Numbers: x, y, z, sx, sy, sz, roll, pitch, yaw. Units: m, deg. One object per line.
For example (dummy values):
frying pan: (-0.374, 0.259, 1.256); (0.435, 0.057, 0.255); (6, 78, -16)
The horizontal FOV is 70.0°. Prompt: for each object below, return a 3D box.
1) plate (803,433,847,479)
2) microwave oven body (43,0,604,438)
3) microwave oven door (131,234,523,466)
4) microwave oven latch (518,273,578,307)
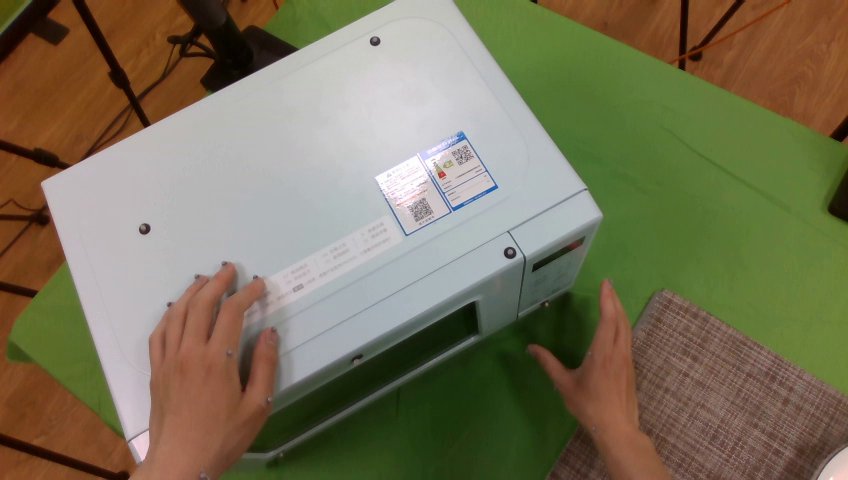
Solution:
plate: (0.483, 0.293, 0.609); (0.207, 0.039, 0.206); (-2, 71, 6)
microwave oven body: (-0.096, -0.014, 0.661); (0.442, 0.262, 0.323); (-29, 71, -3)
microwave oven door: (-0.064, 0.122, 0.605); (0.356, 0.245, 0.039); (-29, 69, -4)
microwave oven latch: (0.140, 0.050, 0.715); (0.079, 0.030, 0.030); (-23, 70, -1)
